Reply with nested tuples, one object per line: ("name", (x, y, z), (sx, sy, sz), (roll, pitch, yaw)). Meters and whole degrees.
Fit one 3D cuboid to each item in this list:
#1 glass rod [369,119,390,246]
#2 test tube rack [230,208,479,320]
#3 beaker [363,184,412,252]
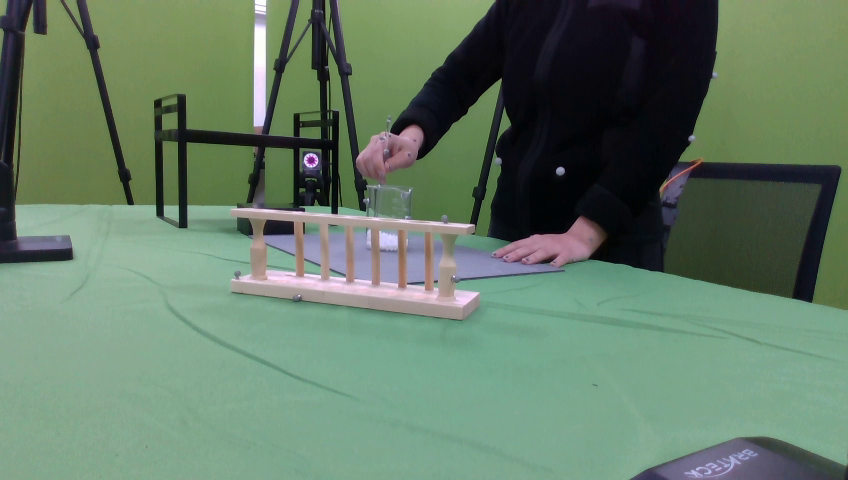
("glass rod", (-0.069, -0.088, 0.932), (0.008, 0.199, 0.008), (8, 2, 0))
("test tube rack", (-0.069, 0.017, 0.598), (0.242, 0.085, 0.067), (5, 8, 18))
("beaker", (-0.055, -0.034, 0.934), (0.074, 0.100, 0.083), (-5, 11, -44))
